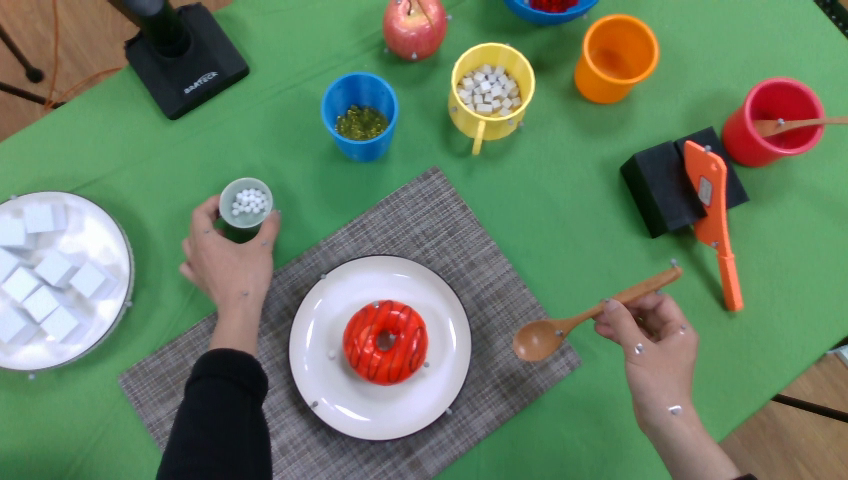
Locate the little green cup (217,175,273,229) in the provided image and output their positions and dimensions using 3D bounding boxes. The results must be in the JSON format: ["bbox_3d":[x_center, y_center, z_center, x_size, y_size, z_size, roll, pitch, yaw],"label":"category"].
[{"bbox_3d":[-0.211,-0.042,0.723,0.061,0.039,0.061,0,74,1],"label":"little green cup"}]

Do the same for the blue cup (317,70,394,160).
[{"bbox_3d":[-0.078,-0.139,0.716,0.093,0.100,0.092,1,80,-3],"label":"blue cup"}]

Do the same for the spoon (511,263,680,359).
[{"bbox_3d":[0.165,0.071,0.602,0.022,0.194,0.041,3,60,-46],"label":"spoon"}]

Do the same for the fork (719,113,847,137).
[{"bbox_3d":[0.459,-0.139,0.712,0.206,0.019,0.028,4,61,42],"label":"fork"}]

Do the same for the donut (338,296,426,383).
[{"bbox_3d":[-0.047,0.112,0.685,0.099,0.048,0.098,0,80,-1],"label":"donut"}]

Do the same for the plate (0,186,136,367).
[{"bbox_3d":[-0.435,0.041,0.700,0.208,0.039,0.206,0,79,-2],"label":"plate"}]

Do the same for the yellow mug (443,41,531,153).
[{"bbox_3d":[0.072,-0.169,0.744,0.100,0.064,0.130,13,80,0],"label":"yellow mug"}]

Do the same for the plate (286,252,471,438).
[{"bbox_3d":[-0.051,0.117,0.695,0.209,0.038,0.208,0,79,-2],"label":"plate"}]

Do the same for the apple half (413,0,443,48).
[{"bbox_3d":[0.005,-0.281,0.759,0.033,0.081,0.081,-29,81,-5],"label":"apple half"}]

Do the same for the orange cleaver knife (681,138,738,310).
[{"bbox_3d":[0.336,-0.017,0.716,0.012,0.076,0.212,-20,109,-4],"label":"orange cleaver knife"}]

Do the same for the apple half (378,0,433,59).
[{"bbox_3d":[-0.030,-0.262,0.756,0.053,0.075,0.080,-29,84,-4],"label":"apple half"}]

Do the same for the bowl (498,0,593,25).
[{"bbox_3d":[0.149,-0.334,0.773,0.151,0.077,0.150,0,80,-2],"label":"bowl"}]
